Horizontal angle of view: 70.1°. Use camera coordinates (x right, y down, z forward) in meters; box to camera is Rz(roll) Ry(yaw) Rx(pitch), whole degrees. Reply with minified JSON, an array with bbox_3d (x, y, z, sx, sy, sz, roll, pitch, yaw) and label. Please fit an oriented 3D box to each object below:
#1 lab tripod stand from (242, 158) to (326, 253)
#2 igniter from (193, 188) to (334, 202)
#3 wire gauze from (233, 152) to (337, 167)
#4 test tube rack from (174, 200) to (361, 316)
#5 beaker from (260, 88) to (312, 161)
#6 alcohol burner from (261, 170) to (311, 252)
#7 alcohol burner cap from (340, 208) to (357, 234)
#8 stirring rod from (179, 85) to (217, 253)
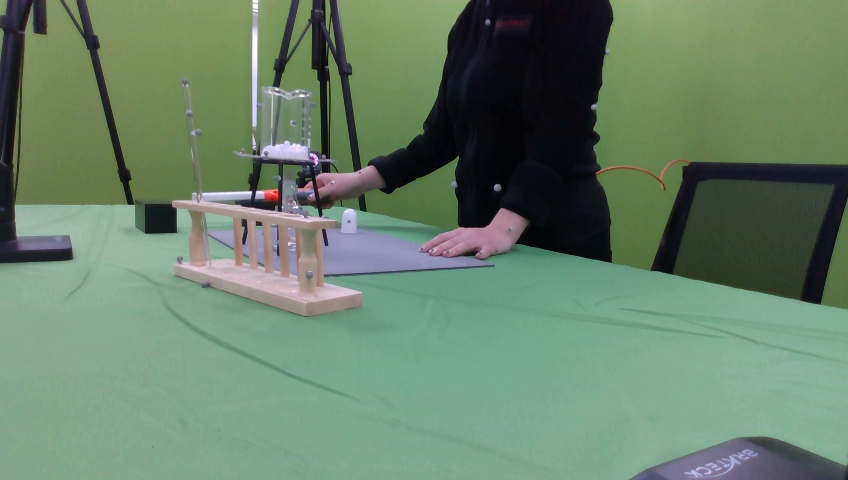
[{"bbox_3d":[-0.207,-0.054,0.895,0.148,0.131,0.148,2,5,0],"label":"lab tripod stand"},{"bbox_3d":[-0.313,-0.089,1.209,0.278,0.025,0.057,-5,12,-32],"label":"igniter"},{"bbox_3d":[-0.205,-0.119,0.887,0.122,0.011,0.124,2,4,-32],"label":"wire gauze"},{"bbox_3d":[-0.169,0.010,0.622,0.241,0.085,0.067,9,9,41],"label":"test tube rack"},{"bbox_3d":[-0.201,-0.166,0.876,0.074,0.100,0.083,1,7,-18],"label":"beaker"},{"bbox_3d":[-0.201,-0.043,0.891,0.078,0.119,0.078,1,6,0],"label":"alcohol burner"},{"bbox_3d":[-0.142,-0.036,1.136,0.034,0.048,0.034,1,7,0],"label":"alcohol burner cap"},{"bbox_3d":[-0.236,-0.073,0.634,0.006,0.176,0.014,1,10,42],"label":"stirring rod"}]
